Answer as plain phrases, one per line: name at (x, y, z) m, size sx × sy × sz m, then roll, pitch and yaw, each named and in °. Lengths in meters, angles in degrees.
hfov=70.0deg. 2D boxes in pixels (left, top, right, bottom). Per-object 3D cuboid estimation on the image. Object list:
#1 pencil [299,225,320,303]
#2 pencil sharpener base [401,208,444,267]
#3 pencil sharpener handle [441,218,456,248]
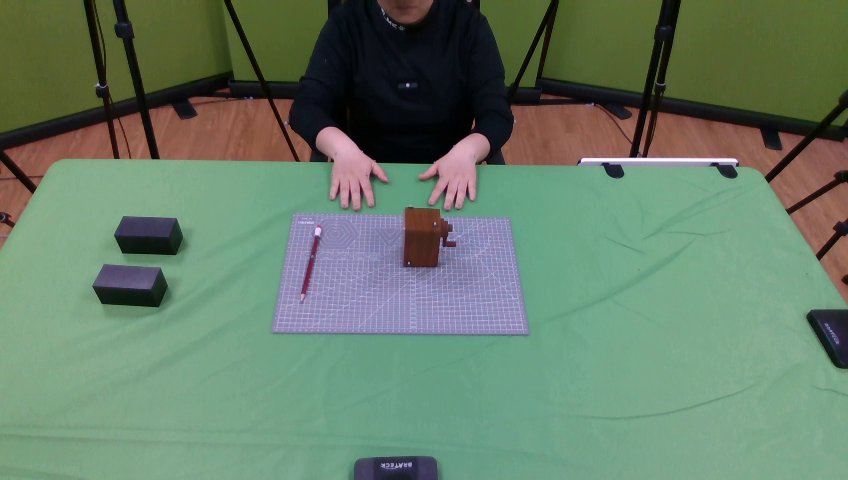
pencil at (-0.217, 0.043, 1.144) m, size 0.012 × 0.012 × 0.193 m, roll 4°, pitch 47°, yaw 0°
pencil sharpener base at (-0.005, -0.003, 1.137) m, size 0.077 × 0.107 × 0.061 m, roll 1°, pitch 45°, yaw -4°
pencil sharpener handle at (0.047, -0.011, 1.131) m, size 0.031 × 0.068 × 0.036 m, roll 1°, pitch 45°, yaw -3°
